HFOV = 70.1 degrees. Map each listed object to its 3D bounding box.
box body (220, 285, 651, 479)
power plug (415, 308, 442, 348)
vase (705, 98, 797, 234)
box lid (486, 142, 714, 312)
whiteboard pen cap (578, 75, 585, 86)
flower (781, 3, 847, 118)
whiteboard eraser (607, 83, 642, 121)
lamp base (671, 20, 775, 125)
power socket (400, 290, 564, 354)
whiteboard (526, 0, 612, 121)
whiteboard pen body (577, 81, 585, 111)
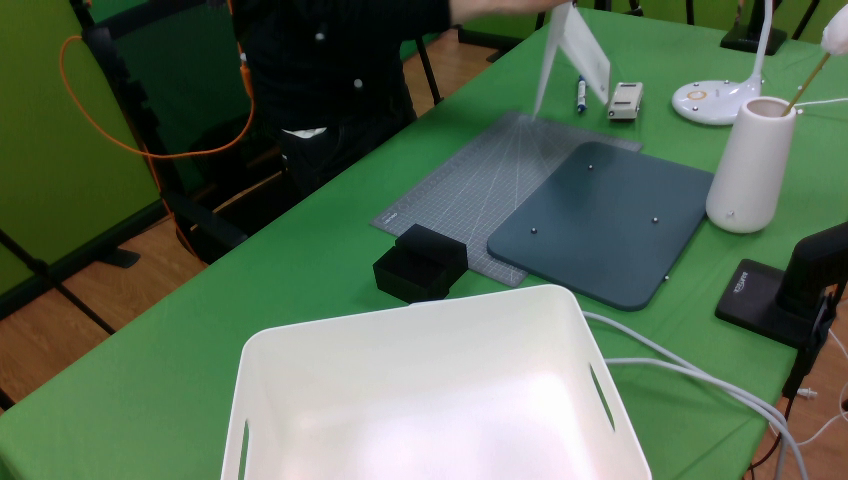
[{"bbox_3d":[0.005,0.211,0.616,0.364,0.161,0.252,-9,40,-2],"label":"box body"},{"bbox_3d":[0.004,0.121,0.786,0.035,0.053,0.072,1,45,8],"label":"power plug"},{"bbox_3d":[0.480,-0.104,0.889,0.098,0.201,0.097,-4,42,4],"label":"vase"},{"bbox_3d":[0.298,-0.041,0.986,0.261,0.015,0.372,23,49,30],"label":"box lid"},{"bbox_3d":[0.349,-0.351,1.334,0.018,0.018,0.033,3,39,12],"label":"whiteboard pen cap"},{"bbox_3d":[0.480,-0.157,0.824,0.044,0.362,0.038,-9,56,-9],"label":"flower"},{"bbox_3d":[0.406,-0.277,1.222,0.055,0.042,0.112,9,43,21],"label":"whiteboard eraser"},{"bbox_3d":[0.581,-0.332,1.154,0.179,0.181,0.160,2,42,7],"label":"lamp base"},{"bbox_3d":[0.079,0.111,0.823,0.227,0.033,0.072,-6,41,1],"label":"power socket"},{"bbox_3d":[0.292,-0.381,1.076,0.143,0.306,0.217,13,44,8],"label":"whiteboard"},{"bbox_3d":[0.335,-0.313,1.292,0.017,0.017,0.140,3,40,12],"label":"whiteboard pen body"}]
